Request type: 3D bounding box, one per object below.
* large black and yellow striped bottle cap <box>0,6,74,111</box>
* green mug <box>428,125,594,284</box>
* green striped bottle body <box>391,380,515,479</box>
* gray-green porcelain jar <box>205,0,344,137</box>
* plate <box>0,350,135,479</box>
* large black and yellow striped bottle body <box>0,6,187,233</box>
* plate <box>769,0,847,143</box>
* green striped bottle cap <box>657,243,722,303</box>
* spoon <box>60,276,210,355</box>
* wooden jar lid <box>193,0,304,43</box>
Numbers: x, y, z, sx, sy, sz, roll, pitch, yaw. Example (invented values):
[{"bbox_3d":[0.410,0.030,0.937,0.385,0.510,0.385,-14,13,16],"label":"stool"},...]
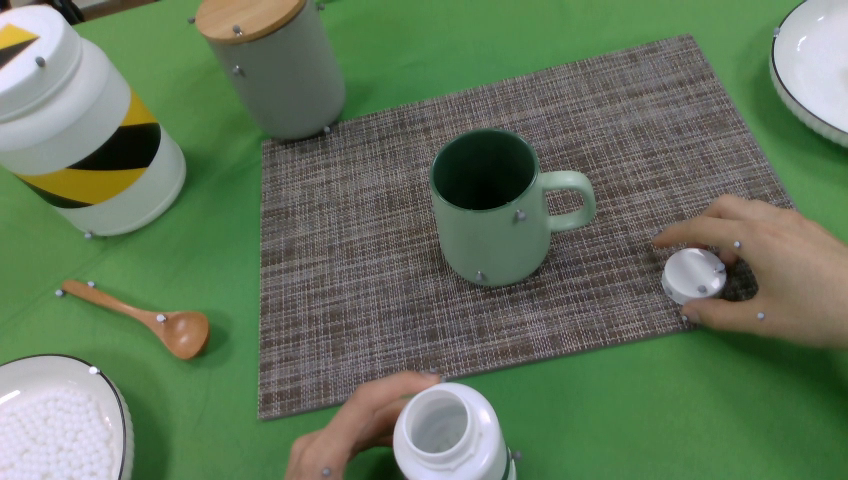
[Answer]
[{"bbox_3d":[-0.343,-0.148,0.494,0.115,0.019,0.114,-5,56,8],"label":"large black and yellow striped bottle cap"},{"bbox_3d":[0.068,-0.027,0.471,0.125,0.106,0.091,-5,57,9],"label":"green mug"},{"bbox_3d":[0.019,0.128,0.376,0.063,0.120,0.062,-7,56,11],"label":"green striped bottle body"},{"bbox_3d":[-0.142,-0.175,0.599,0.106,0.128,0.105,-6,53,9],"label":"gray-green porcelain jar"},{"bbox_3d":[-0.316,0.187,0.466,0.209,0.038,0.207,-5,57,9],"label":"plate"},{"bbox_3d":[-0.326,-0.105,0.564,0.130,0.186,0.129,-6,58,9],"label":"large black and yellow striped bottle body"},{"bbox_3d":[0.406,-0.148,0.516,0.207,0.039,0.205,-6,57,9],"label":"plate"},{"bbox_3d":[0.202,0.025,0.462,0.044,0.020,0.044,-5,57,8],"label":"green striped bottle cap"},{"bbox_3d":[-0.264,0.059,0.544,0.192,0.022,0.041,16,82,21],"label":"spoon"},{"bbox_3d":[-0.154,-0.212,0.550,0.108,0.021,0.107,-8,56,12],"label":"wooden jar lid"}]
